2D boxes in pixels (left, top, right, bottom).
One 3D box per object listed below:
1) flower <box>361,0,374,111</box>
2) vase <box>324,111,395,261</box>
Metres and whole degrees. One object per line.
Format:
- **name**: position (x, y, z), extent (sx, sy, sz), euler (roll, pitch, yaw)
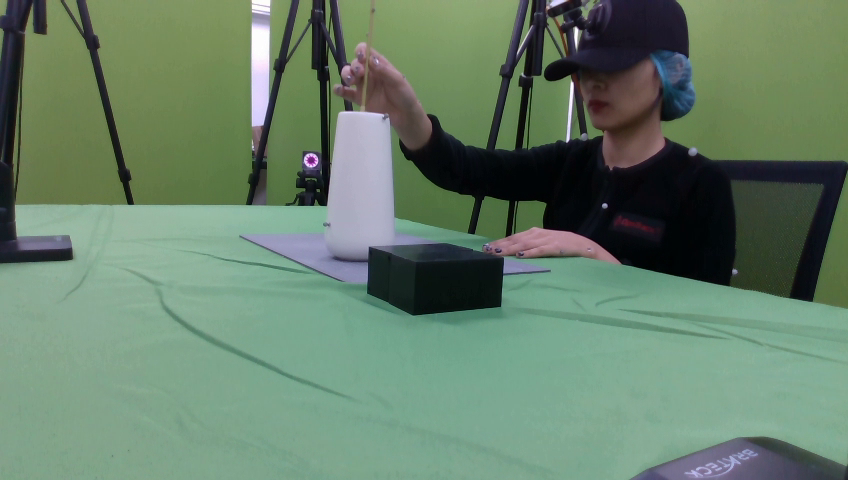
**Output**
- **flower**: position (-0.080, -0.220, 0.826), extent (0.044, 0.361, 0.038), euler (1, -5, 22)
- **vase**: position (-0.087, -0.074, 0.828), extent (0.098, 0.200, 0.098), euler (2, 9, 0)
